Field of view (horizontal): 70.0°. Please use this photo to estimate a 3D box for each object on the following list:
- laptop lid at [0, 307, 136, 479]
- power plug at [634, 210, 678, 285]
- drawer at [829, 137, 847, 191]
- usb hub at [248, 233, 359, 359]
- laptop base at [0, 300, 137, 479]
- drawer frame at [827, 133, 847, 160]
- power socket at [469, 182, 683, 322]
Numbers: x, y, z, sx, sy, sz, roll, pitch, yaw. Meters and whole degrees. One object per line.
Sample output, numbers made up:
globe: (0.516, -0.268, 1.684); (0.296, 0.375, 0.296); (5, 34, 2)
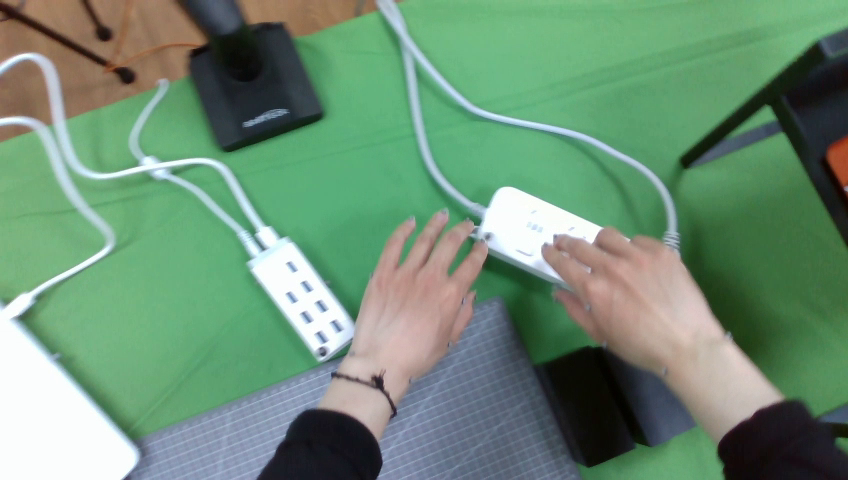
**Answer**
laptop lid: (-0.472, 0.247, 0.551); (0.356, 0.013, 0.241); (-44, 85, -9)
power plug: (0.240, 0.013, 0.611); (0.035, 0.053, 0.072); (35, 77, 7)
drawer: (0.444, -0.026, 0.438); (0.212, 0.073, 0.193); (-21, 79, -7)
usb hub: (-0.122, 0.056, 0.612); (0.049, 0.025, 0.124); (-37, 82, -7)
laptop base: (-0.473, 0.248, 0.564); (0.235, 0.023, 0.354); (44, 81, 4)
drawer frame: (0.448, -0.029, 0.438); (0.214, 0.083, 0.200); (-22, 79, -7)
power socket: (0.159, 0.012, 0.627); (0.226, 0.033, 0.072); (25, 78, 4)
